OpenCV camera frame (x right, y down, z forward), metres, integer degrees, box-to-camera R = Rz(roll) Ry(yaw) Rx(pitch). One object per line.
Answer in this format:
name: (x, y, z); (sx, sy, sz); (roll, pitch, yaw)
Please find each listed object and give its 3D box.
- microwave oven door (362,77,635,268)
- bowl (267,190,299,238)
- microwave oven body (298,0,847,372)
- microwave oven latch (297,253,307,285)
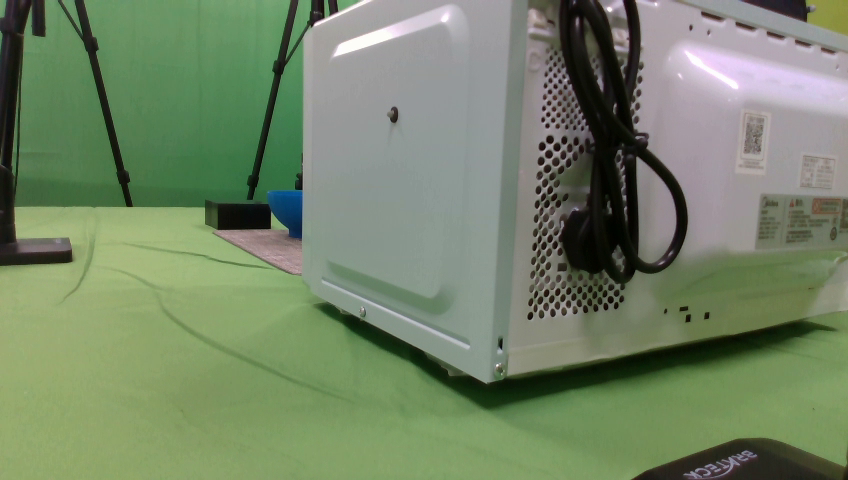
microwave oven door: (0.090, -0.097, 0.820); (0.355, 0.243, 0.039); (4, 8, 14)
bowl: (-0.202, -0.046, 1.070); (0.151, 0.077, 0.151); (3, 7, 0)
microwave oven body: (0.151, -0.055, 0.543); (0.444, 0.260, 0.324); (-1, 7, -33)
microwave oven latch: (-0.082, 0.027, 0.582); (0.079, 0.029, 0.030); (-1, 7, -32)
